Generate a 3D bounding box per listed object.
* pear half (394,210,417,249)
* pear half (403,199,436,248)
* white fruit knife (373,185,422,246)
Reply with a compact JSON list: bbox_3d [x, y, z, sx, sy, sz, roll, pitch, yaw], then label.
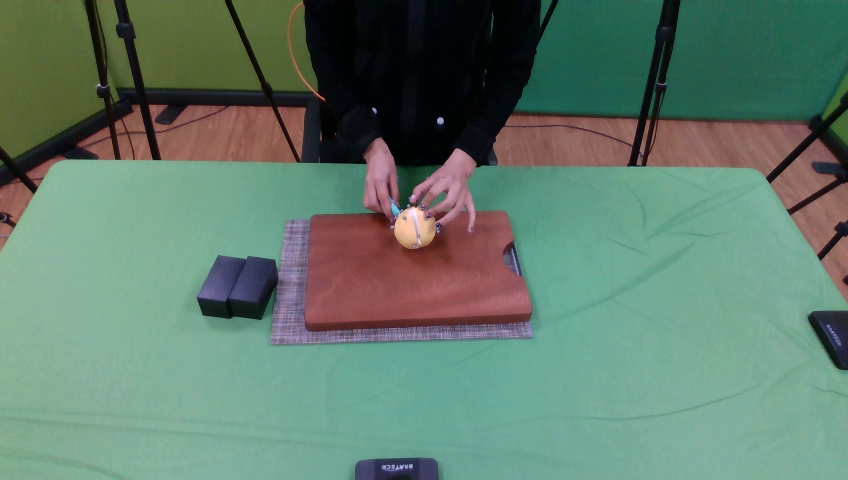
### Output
[{"bbox_3d":[-0.039,-0.018,1.128,0.031,0.088,0.070,-27,58,-20],"label":"pear half"},{"bbox_3d":[-0.005,-0.040,1.136,0.056,0.110,0.076,-24,56,-25],"label":"pear half"},{"bbox_3d":[-0.051,-0.051,1.170,0.016,0.027,0.206,-20,44,-20],"label":"white fruit knife"}]
